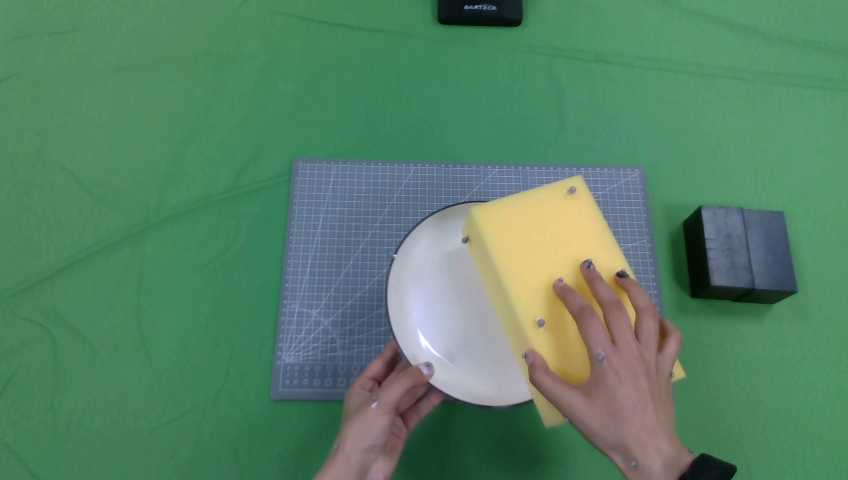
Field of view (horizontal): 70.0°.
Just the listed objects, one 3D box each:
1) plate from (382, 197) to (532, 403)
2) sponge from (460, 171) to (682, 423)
[{"bbox_3d":[0.060,0.059,0.611,0.210,0.038,0.208,3,73,-10],"label":"plate"},{"bbox_3d":[0.129,0.049,0.564,0.118,0.061,0.205,-19,71,-13],"label":"sponge"}]
